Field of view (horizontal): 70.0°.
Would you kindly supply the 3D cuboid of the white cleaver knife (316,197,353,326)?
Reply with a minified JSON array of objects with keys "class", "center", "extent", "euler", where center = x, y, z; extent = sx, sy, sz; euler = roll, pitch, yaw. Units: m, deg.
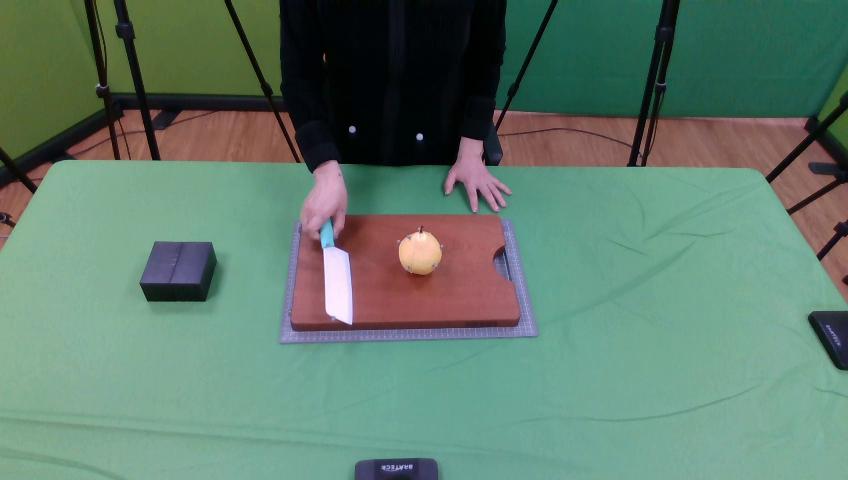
[{"class":"white cleaver knife","center":[-0.164,0.033,1.099],"extent":[0.066,0.021,0.284],"euler":[28,38,-38]}]

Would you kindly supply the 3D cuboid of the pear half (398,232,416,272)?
[{"class":"pear half","center":[-0.031,0.018,1.092],"extent":[0.031,0.088,0.070],"euler":[1,51,-2]}]

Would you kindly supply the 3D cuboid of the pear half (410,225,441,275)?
[{"class":"pear half","center":[0.004,0.013,1.085],"extent":[0.056,0.110,0.076],"euler":[1,51,-3]}]
